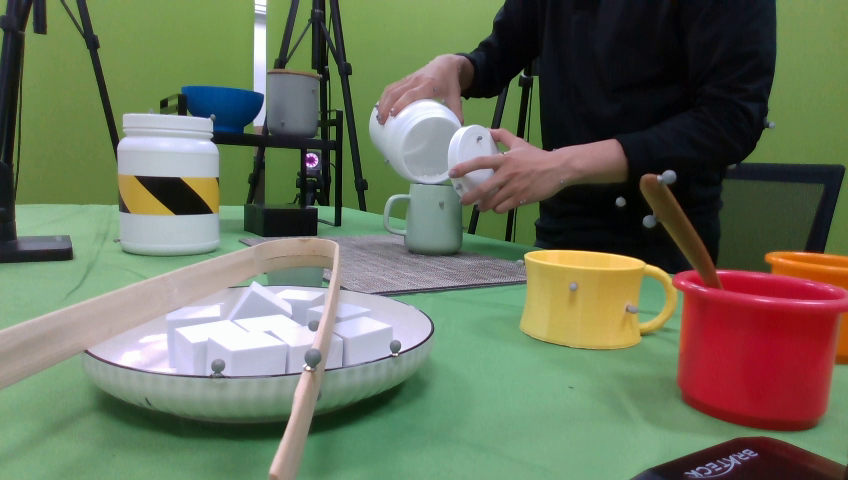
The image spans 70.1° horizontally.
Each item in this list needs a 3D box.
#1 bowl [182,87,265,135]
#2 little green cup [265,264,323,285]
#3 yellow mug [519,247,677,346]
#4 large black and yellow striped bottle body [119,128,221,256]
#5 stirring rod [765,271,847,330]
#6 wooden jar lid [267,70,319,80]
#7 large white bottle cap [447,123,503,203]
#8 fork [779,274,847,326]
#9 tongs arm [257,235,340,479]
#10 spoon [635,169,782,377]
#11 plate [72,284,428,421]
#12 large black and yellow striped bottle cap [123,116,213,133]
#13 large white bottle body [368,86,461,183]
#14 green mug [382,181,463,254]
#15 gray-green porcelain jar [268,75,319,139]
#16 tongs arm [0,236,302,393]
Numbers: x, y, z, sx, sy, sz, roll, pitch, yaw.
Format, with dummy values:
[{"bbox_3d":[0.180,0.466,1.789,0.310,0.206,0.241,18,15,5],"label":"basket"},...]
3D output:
[{"bbox_3d":[-0.383,-0.244,1.158,0.151,0.077,0.151,2,7,0],"label":"bowl"},{"bbox_3d":[-0.134,0.033,0.628,0.061,0.038,0.061,3,7,0],"label":"little green cup"},{"bbox_3d":[0.148,0.045,0.513,0.131,0.064,0.100,3,7,0],"label":"yellow mug"},{"bbox_3d":[-0.355,-0.076,0.850,0.131,0.184,0.130,2,8,0],"label":"large black and yellow striped bottle body"},{"bbox_3d":[0.352,0.020,0.481,0.176,0.006,0.014,-40,-8,17],"label":"stirring rod"},{"bbox_3d":[-0.275,-0.339,1.271,0.108,0.020,0.108,5,6,0],"label":"wooden jar lid"},{"bbox_3d":[0.076,-0.111,0.878,0.018,0.114,0.115,-4,2,41],"label":"large white bottle cap"},{"bbox_3d":[0.332,0.019,0.443,0.028,0.018,0.207,-3,-35,-16],"label":"fork"},{"bbox_3d":[-0.074,0.040,0.345,0.051,0.026,0.384,-1,10,-3],"label":"tongs arm"},{"bbox_3d":[0.161,0.026,0.346,0.021,0.194,0.041,-51,32,-19],"label":"spoon"},{"bbox_3d":[-0.102,0.067,0.381,0.208,0.039,0.207,3,7,0],"label":"plate"},{"bbox_3d":[-0.353,-0.159,0.838,0.115,0.019,0.115,2,6,0],"label":"large black and yellow striped bottle cap"},{"bbox_3d":[-0.012,-0.174,1.003,0.131,0.130,0.184,0,24,-19],"label":"large white bottle body"},{"bbox_3d":[-0.001,-0.036,0.922,0.126,0.105,0.092,0,8,-15],"label":"green mug"},{"bbox_3d":[-0.277,-0.279,1.280,0.106,0.126,0.106,2,8,0],"label":"gray-green porcelain jar"},{"bbox_3d":[-0.157,0.038,0.347,0.028,0.028,0.388,-3,8,11],"label":"tongs arm"}]
